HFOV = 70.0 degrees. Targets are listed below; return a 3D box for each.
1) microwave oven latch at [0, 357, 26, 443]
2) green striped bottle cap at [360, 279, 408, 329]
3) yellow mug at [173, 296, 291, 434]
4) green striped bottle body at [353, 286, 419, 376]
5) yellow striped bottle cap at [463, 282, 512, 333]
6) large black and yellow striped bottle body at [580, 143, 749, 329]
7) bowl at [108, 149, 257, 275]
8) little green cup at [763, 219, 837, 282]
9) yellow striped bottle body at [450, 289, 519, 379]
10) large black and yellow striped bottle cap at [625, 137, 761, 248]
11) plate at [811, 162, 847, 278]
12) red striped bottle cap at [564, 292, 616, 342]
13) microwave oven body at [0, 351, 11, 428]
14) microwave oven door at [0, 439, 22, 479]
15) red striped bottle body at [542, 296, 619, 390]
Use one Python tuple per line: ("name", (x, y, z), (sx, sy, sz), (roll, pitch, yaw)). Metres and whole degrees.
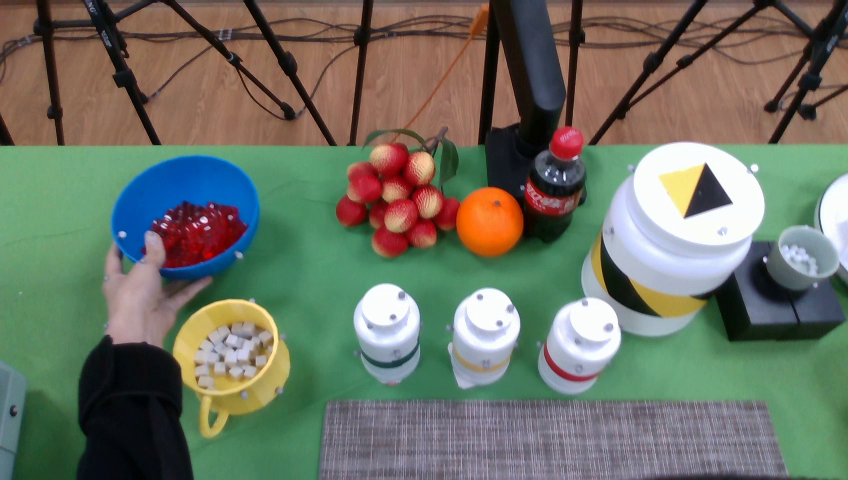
("microwave oven latch", (-0.405, 0.154, 0.579), (0.030, 0.030, 0.078), (-7, 60, -5))
("green striped bottle cap", (-0.037, 0.058, 0.553), (0.044, 0.020, 0.044), (1, 57, -1))
("yellow mug", (-0.193, 0.127, 0.603), (0.100, 0.064, 0.130), (7, 59, 6))
("green striped bottle body", (-0.036, 0.086, 0.598), (0.063, 0.120, 0.062), (0, 58, 0))
("yellow striped bottle cap", (0.058, 0.061, 0.553), (0.044, 0.019, 0.044), (0, 60, 0))
("large black and yellow striped bottle body", (0.241, -0.002, 0.616), (0.131, 0.185, 0.129), (0, 59, 0))
("bowl", (-0.255, -0.018, 0.671), (0.151, 0.077, 0.150), (2, 59, -2))
("little green cup", (0.391, 0.013, 0.635), (0.061, 0.039, 0.061), (1, 57, -1))
("yellow striped bottle body", (0.058, 0.088, 0.597), (0.063, 0.121, 0.062), (0, 58, 1))
("large black and yellow striped bottle cap", (0.241, -0.045, 0.544), (0.115, 0.019, 0.114), (0, 57, 0))
("plate", (0.555, -0.005, 0.706), (0.209, 0.038, 0.207), (0, 59, 0))
("red striped bottle cap", (0.150, 0.069, 0.548), (0.044, 0.018, 0.044), (2, 57, -3))
("microwave oven body", (-0.520, 0.273, 0.392), (0.326, 0.262, 0.437), (-8, 60, -6))
("microwave oven door", (-0.368, 0.285, 0.381), (0.039, 0.246, 0.352), (-9, 59, -4))
("red striped bottle body", (0.152, 0.098, 0.592), (0.063, 0.121, 0.062), (-2, 57, 3))
